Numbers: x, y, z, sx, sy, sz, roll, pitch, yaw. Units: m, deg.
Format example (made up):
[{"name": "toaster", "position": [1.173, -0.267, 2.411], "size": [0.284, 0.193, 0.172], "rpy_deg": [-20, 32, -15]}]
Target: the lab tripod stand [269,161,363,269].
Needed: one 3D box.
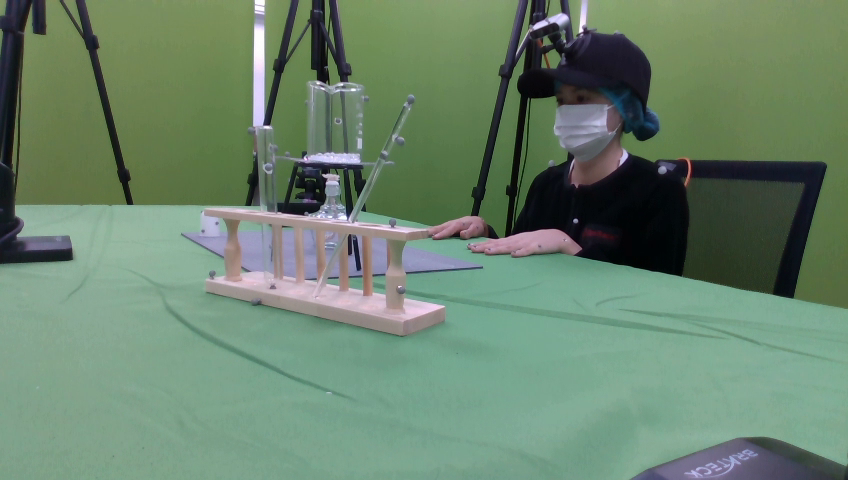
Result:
[{"name": "lab tripod stand", "position": [-0.125, -0.036, 0.794], "size": [0.148, 0.131, 0.148], "rpy_deg": [5, 7, 0]}]

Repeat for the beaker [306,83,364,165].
[{"name": "beaker", "position": [-0.115, -0.147, 0.775], "size": [0.074, 0.100, 0.084], "rpy_deg": [2, 8, -2]}]

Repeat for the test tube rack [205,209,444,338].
[{"name": "test tube rack", "position": [-0.100, 0.021, 0.565], "size": [0.241, 0.085, 0.067], "rpy_deg": [7, 9, 32]}]

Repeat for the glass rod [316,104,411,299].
[{"name": "glass rod", "position": [-0.054, -0.026, 0.516], "size": [0.008, 0.199, 0.008], "rpy_deg": [23, 24, -11]}]

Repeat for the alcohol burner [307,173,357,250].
[{"name": "alcohol burner", "position": [-0.144, -0.045, 0.940], "size": [0.078, 0.119, 0.078], "rpy_deg": [1, 8, 0]}]

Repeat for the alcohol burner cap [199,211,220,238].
[{"name": "alcohol burner cap", "position": [-0.355, -0.027, 1.002], "size": [0.034, 0.048, 0.034], "rpy_deg": [2, 7, 0]}]

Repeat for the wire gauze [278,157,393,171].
[{"name": "wire gauze", "position": [-0.122, -0.100, 0.786], "size": [0.122, 0.011, 0.124], "rpy_deg": [-5, 14, -38]}]

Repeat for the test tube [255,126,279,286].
[{"name": "test tube", "position": [-0.147, -0.031, 0.566], "size": [0.017, 0.150, 0.017], "rpy_deg": [-1, 8, 0]}]
